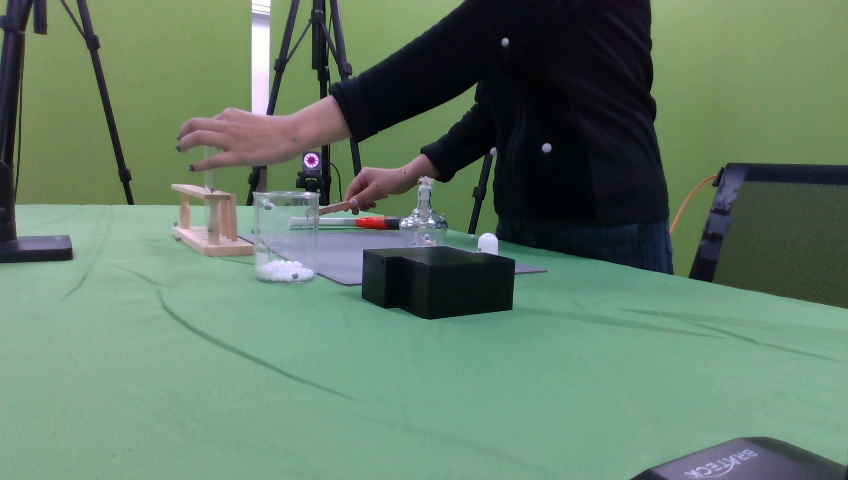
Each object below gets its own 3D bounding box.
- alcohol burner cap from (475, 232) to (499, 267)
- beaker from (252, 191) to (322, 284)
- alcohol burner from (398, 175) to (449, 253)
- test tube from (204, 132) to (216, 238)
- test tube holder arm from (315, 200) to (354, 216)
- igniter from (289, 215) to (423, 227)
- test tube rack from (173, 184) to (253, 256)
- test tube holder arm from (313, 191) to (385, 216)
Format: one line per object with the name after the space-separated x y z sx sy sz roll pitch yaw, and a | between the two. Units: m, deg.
0.087 0.012 0.830 0.034 0.048 0.034 2 6 0 | alcohol burner cap
-0.159 -0.005 0.685 0.083 0.100 0.074 5 7 23 | beaker
-0.001 -0.041 0.937 0.078 0.119 0.078 0 7 0 | alcohol burner
-0.300 -0.075 0.849 0.017 0.150 0.017 3 10 0 | test tube
-0.167 -0.060 1.137 0.010 0.015 0.088 11 22 41 | test tube holder arm
-0.133 -0.038 1.231 0.278 0.025 0.057 -1 -2 -25 | igniter
-0.329 -0.036 0.927 0.067 0.085 0.241 -2 8 -32 | test tube rack
-0.142 -0.073 1.173 0.013 0.015 0.179 10 21 39 | test tube holder arm
